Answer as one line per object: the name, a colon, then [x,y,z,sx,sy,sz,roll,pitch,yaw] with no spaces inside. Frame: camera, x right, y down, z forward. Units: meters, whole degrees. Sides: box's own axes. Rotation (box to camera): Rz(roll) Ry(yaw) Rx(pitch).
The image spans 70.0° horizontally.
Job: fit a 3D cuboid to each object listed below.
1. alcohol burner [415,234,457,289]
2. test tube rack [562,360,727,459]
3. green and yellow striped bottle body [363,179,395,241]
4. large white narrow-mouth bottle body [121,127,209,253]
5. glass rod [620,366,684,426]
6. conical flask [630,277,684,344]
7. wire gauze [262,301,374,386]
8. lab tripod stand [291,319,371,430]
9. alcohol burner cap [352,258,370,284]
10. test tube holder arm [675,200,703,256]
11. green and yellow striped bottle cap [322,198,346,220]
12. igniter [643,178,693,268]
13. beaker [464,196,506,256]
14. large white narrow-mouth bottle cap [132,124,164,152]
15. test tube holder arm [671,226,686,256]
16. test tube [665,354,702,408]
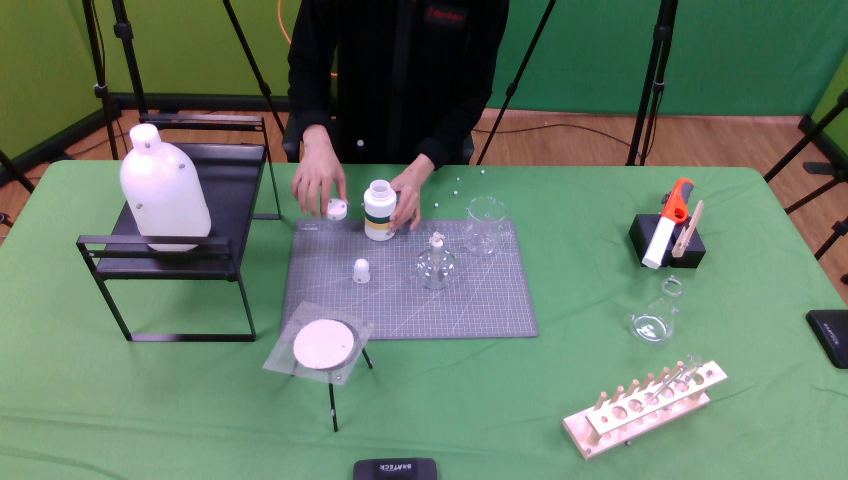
alcohol burner: [0.022,0.033,1.100,0.078,0.120,0.077,1,47,-1]
test tube rack: [0.341,0.247,0.940,0.243,0.085,0.066,-16,49,-18]
green and yellow striped bottle body: [-0.087,-0.061,1.178,0.063,0.120,0.063,2,45,-2]
large white narrow-mouth bottle body: [-0.378,-0.077,0.875,0.102,0.195,0.101,3,46,-3]
glass rod: [0.322,0.227,0.866,0.008,0.200,0.008,6,51,-7]
conical flask: [0.408,0.117,1.045,0.075,0.122,0.075,2,46,-2]
wire gauze: [-0.150,0.148,0.873,0.121,0.011,0.124,14,46,12]
lab tripod stand: [-0.146,0.193,0.923,0.148,0.132,0.147,1,47,-1]
alcohol burner cap: [-0.117,0.055,1.118,0.034,0.048,0.033,2,46,-1]
test tube holder arm: [0.523,-0.025,1.190,0.013,0.015,0.178,0,36,42]
green and yellow striped bottle cap: [-0.171,-0.060,1.155,0.045,0.020,0.045,5,47,-5]
igniter: [0.488,-0.042,1.205,0.057,0.025,0.276,30,51,11]
beaker: [0.117,-0.026,1.174,0.074,0.101,0.083,21,48,15]
large white narrow-mouth bottle cap: [-0.370,-0.137,0.813,0.038,0.024,0.037,3,46,-3]
test tube holder arm: [0.494,0.001,1.167,0.010,0.015,0.087,1,36,42]
test tube: [0.385,0.215,0.906,0.017,0.151,0.017,-1,49,1]
